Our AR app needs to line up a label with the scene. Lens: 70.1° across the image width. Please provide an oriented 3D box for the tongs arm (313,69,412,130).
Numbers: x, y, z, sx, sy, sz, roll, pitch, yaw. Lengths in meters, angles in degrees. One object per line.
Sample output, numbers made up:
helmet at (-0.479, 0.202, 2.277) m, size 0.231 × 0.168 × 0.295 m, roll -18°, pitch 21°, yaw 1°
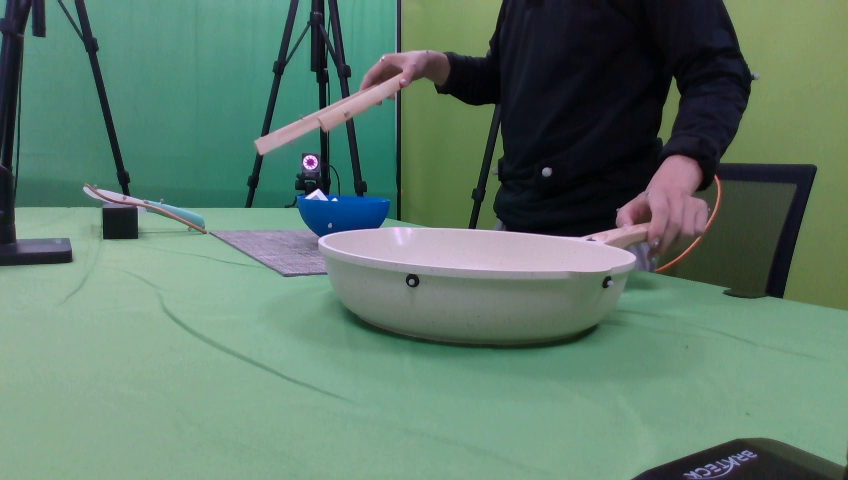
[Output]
tongs arm at (-0.094, -0.253, 1.056) m, size 0.028 × 0.028 × 0.388 m, roll -21°, pitch 15°, yaw 29°

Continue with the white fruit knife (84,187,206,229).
white fruit knife at (-0.488, -0.059, 1.071) m, size 0.208 × 0.027 × 0.016 m, roll 17°, pitch 4°, yaw -33°

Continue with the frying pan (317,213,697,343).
frying pan at (0.133, 0.013, 0.630) m, size 0.490 × 0.102 × 0.305 m, roll -12°, pitch 14°, yaw -31°

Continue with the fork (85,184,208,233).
fork at (-0.462, -0.050, 1.020) m, size 0.208 × 0.018 × 0.028 m, roll 22°, pitch -8°, yaw -37°

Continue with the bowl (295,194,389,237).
bowl at (-0.132, -0.032, 0.980) m, size 0.151 × 0.077 × 0.151 m, roll 2°, pitch 7°, yaw 0°

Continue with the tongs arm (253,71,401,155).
tongs arm at (-0.156, -0.239, 1.100) m, size 0.050 × 0.026 × 0.386 m, roll -13°, pitch 19°, yaw 39°
